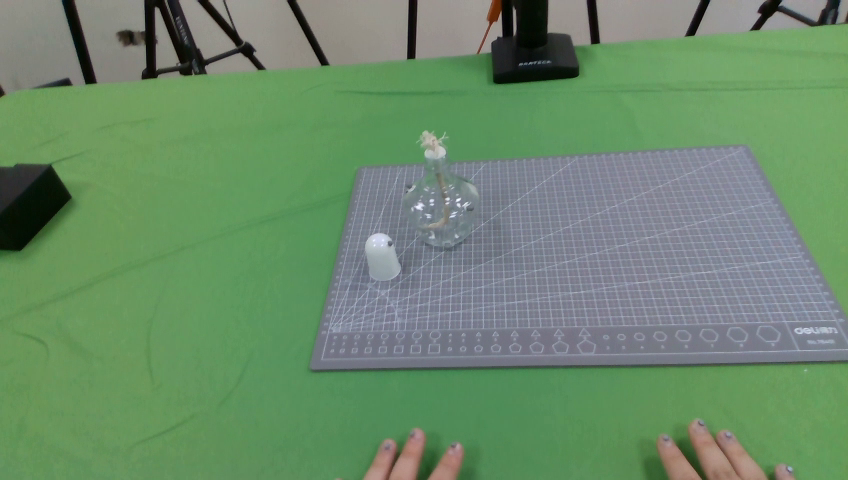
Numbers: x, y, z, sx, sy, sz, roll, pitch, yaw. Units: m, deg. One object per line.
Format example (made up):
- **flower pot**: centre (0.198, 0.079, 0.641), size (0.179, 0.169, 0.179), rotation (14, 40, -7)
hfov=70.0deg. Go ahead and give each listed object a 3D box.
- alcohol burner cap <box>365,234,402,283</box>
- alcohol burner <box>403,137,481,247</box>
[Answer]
- **alcohol burner cap**: centre (-0.041, 0.015, 0.585), size (0.034, 0.048, 0.033), rotation (-4, 43, 5)
- **alcohol burner**: centre (0.017, -0.051, 0.594), size (0.078, 0.120, 0.077), rotation (-3, 43, 3)
